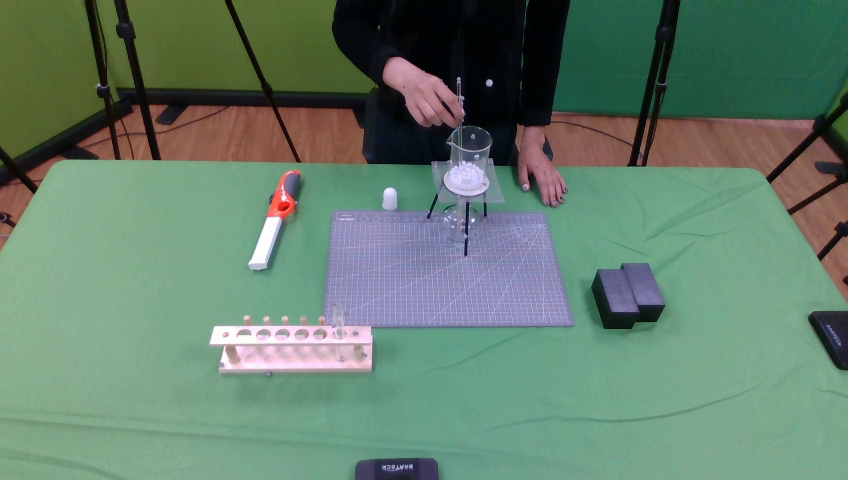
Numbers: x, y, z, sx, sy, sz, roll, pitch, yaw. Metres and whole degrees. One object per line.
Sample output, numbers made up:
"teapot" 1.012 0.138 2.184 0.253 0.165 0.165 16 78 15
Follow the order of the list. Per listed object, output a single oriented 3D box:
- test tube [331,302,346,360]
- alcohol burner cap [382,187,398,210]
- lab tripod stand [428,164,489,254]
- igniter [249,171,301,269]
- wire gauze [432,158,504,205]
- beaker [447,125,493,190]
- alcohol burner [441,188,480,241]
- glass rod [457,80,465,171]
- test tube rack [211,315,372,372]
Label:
"test tube" -0.132 0.144 0.938 0.017 0.151 0.017 2 49 -3
"alcohol burner cap" -0.072 -0.090 1.266 0.034 0.048 0.033 2 47 -2
"lab tripod stand" 0.078 -0.068 1.188 0.148 0.132 0.147 3 47 -3
"igniter" -0.297 -0.049 1.220 0.057 0.025 0.275 -2 45 9
"wire gauze" 0.081 -0.111 1.138 0.125 0.011 0.120 0 48 -7
"beaker" 0.079 -0.148 1.106 0.084 0.101 0.073 -3 47 -7
"alcohol burner" 0.073 -0.055 1.189 0.078 0.120 0.077 1 48 -1
"glass rod" 0.066 -0.197 1.070 0.008 0.201 0.008 -3 49 4
"test tube rack" -0.208 0.163 0.982 0.242 0.085 0.066 1 46 -4
